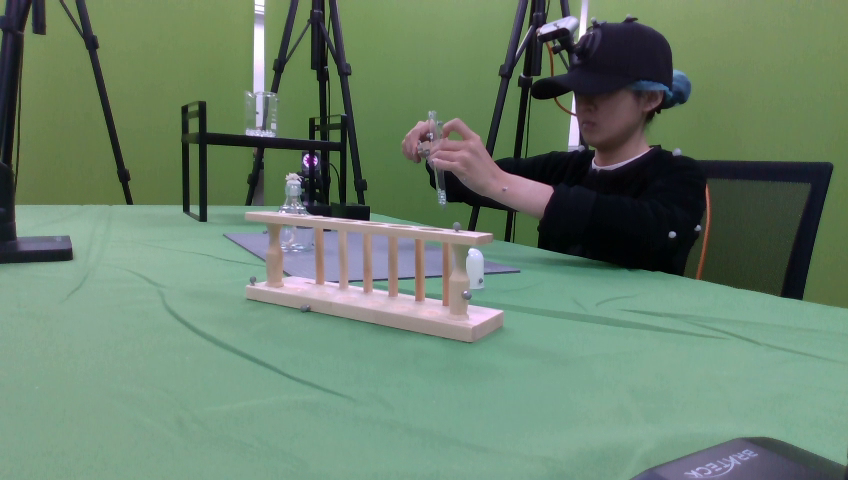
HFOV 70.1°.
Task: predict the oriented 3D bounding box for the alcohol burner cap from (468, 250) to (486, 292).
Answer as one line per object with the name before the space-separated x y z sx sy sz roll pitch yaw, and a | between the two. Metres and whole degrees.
alcohol burner cap | 0.056 0.035 0.690 0.034 0.048 0.034 2 7 0

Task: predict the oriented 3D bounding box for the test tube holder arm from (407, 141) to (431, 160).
test tube holder arm | -0.010 -0.153 1.041 0.013 0.015 0.178 -6 4 -12

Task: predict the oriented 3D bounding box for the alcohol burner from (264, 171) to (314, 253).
alcohol burner | -0.194 -0.042 0.888 0.078 0.119 0.078 3 5 0

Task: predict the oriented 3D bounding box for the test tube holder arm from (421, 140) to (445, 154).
test tube holder arm | 0.009 -0.153 1.001 0.010 0.015 0.087 -9 5 -29

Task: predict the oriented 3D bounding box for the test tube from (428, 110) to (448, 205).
test tube | 0.022 -0.130 0.957 0.017 0.150 0.017 -6 1 0

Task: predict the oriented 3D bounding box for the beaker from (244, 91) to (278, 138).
beaker | -0.368 -0.280 1.356 0.074 0.100 0.084 4 8 6

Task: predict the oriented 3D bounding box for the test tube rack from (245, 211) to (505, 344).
test tube rack | -0.049 0.025 0.547 0.241 0.085 0.067 7 8 29
